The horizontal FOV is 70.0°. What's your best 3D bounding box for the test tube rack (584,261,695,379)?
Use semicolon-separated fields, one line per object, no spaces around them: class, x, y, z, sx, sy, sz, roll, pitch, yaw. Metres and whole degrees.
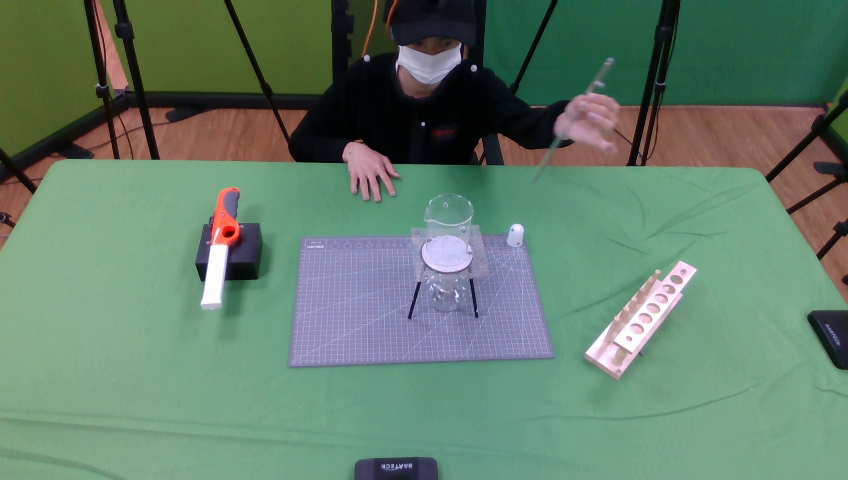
test tube rack;0.380;0.127;1.062;0.066;0.085;0.242;34;53;26

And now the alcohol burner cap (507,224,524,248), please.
alcohol burner cap;0.184;-0.010;1.206;0.034;0.048;0.033;0;45;0

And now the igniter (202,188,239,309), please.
igniter;-0.367;0.006;1.095;0.057;0.025;0.274;-2;50;-7

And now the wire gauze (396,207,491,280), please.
wire gauze;0.032;0.006;1.001;0.125;0.011;0.120;-20;52;-16

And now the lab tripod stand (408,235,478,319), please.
lab tripod stand;0.032;0.065;1.057;0.148;0.132;0.147;1;45;-1

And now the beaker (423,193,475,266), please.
beaker;0.036;-0.013;0.974;0.084;0.101;0.073;-18;48;-20

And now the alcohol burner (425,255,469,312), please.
alcohol burner;0.041;0.072;1.065;0.078;0.120;0.077;1;46;-1

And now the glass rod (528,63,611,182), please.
glass rod;0.208;-0.165;0.871;0.008;0.200;0.008;26;24;-13
